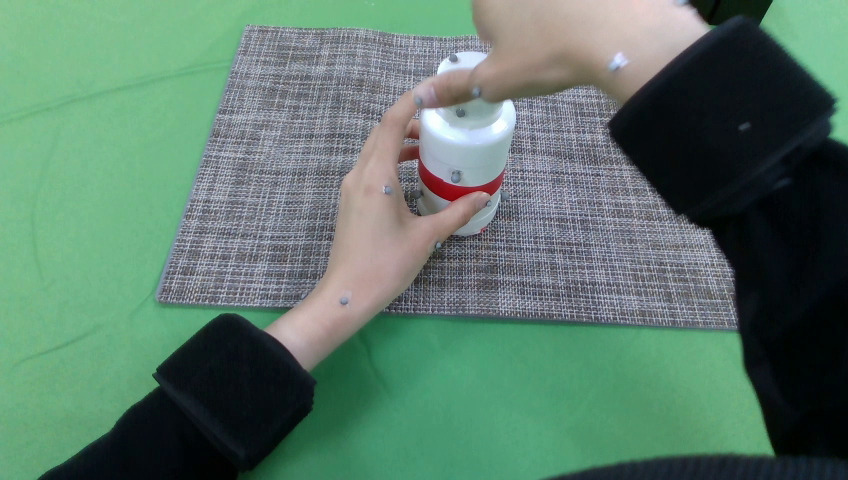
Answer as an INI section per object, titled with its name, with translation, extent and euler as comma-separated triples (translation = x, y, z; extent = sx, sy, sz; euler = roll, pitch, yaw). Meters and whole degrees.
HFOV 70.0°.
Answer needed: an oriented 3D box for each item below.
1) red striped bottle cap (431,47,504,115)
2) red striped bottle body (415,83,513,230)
[red striped bottle cap]
translation = 0.027, -0.098, 0.369
extent = 0.044, 0.018, 0.044
euler = 2, 54, -3
[red striped bottle body]
translation = 0.025, -0.065, 0.416
extent = 0.063, 0.120, 0.062
euler = 1, 56, -1
